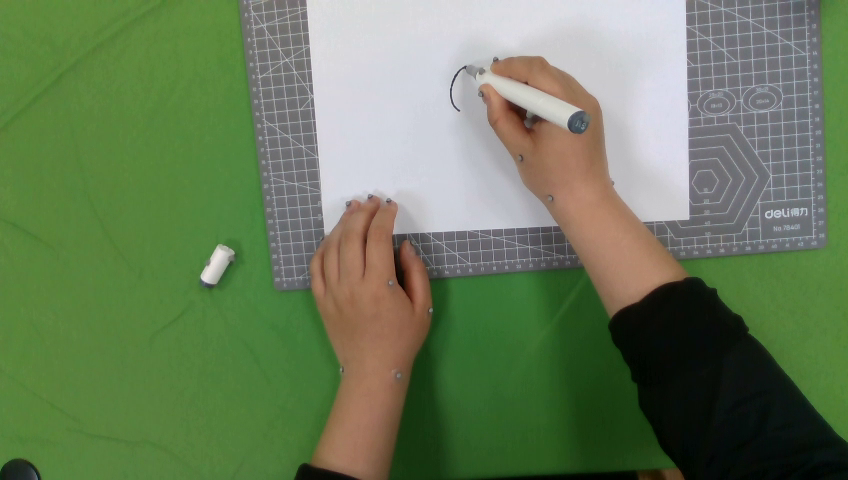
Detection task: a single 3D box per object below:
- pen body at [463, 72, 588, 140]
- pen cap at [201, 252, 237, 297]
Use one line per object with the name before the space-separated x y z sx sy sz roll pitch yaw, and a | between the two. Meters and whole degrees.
pen body | 0.066 -0.101 0.435 0.017 0.142 0.017 -16 125 -23
pen cap | -0.177 0.030 0.519 0.017 0.017 0.038 33 97 2
